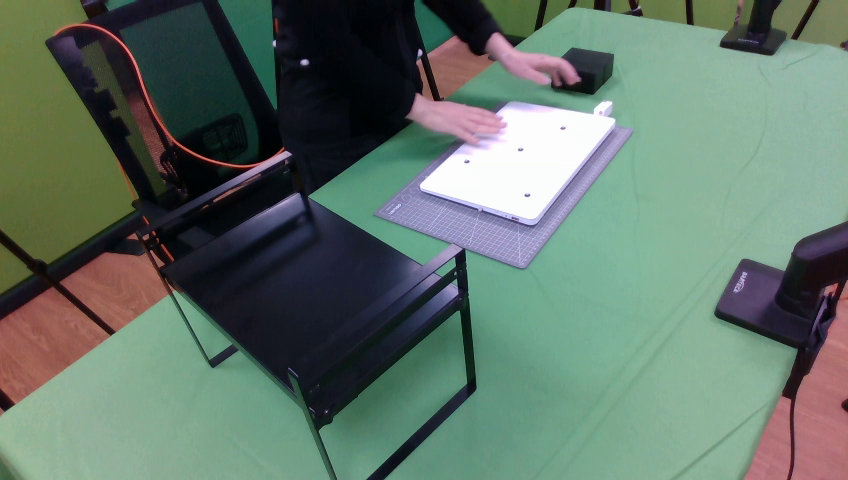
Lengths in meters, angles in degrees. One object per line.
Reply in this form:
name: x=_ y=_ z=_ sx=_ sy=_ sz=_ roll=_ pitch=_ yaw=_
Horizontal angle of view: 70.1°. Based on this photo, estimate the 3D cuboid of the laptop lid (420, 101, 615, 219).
laptop lid: x=0.180 y=-0.166 z=1.125 sx=0.240 sy=0.013 sz=0.357 roll=20 pitch=47 yaw=31

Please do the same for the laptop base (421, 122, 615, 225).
laptop base: x=0.184 y=-0.157 z=1.132 sx=0.234 sy=0.023 sz=0.355 roll=18 pitch=47 yaw=31

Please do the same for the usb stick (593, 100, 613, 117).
usb stick: x=0.353 y=-0.255 z=1.204 sx=0.021 sy=0.027 sz=0.059 roll=27 pitch=49 yaw=27
